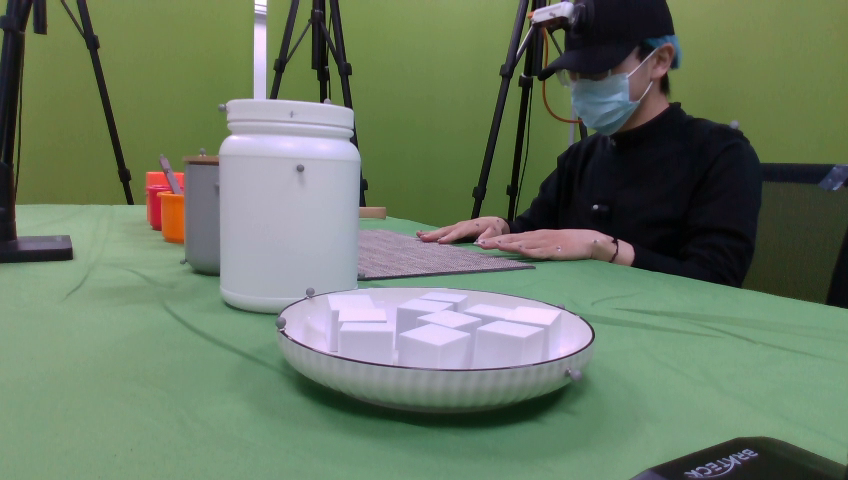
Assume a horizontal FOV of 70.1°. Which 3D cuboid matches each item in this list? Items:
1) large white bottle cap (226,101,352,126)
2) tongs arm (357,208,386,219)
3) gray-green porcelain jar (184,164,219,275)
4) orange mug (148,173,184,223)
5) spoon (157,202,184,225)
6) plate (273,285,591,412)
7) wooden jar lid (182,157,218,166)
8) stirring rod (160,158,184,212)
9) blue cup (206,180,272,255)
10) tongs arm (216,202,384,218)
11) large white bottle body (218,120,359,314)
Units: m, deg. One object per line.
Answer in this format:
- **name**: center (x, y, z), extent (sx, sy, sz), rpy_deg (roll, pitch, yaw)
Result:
- **large white bottle cap**: center (-0.125, -0.116, 0.566), extent (0.115, 0.018, 0.115), rpy_deg (2, 8, 0)
- **tongs arm**: center (-0.252, -0.062, 1.360), extent (0.387, 0.026, 0.050), rpy_deg (-1, 4, -31)
- **gray-green porcelain jar**: center (-0.230, -0.025, 0.722), extent (0.106, 0.126, 0.106), rpy_deg (3, 7, 0)
- **orange mug**: center (-0.490, -0.087, 1.222), extent (0.127, 0.101, 0.083), rpy_deg (-9, 13, -38)
- **spoon**: center (-0.425, -0.094, 1.117), extent (0.041, 0.022, 0.194), rpy_deg (5, 51, 28)
- **plate**: center (0.005, 0.069, 0.408), extent (0.208, 0.039, 0.207), rpy_deg (2, 7, 0)
- **wooden jar lid**: center (-0.227, -0.086, 0.714), extent (0.108, 0.020, 0.108), rpy_deg (1, 6, 0)
- **stirring rod**: center (-0.390, -0.070, 0.972), extent (0.014, 0.006, 0.175), rpy_deg (-2, 50, -48)
- **blue cup**: center (-0.261, -0.033, 0.865), extent (0.093, 0.100, 0.092), rpy_deg (3, 9, 0)
- **tongs arm**: center (-0.288, -0.071, 1.435), extent (0.389, 0.027, 0.028), rpy_deg (1, 0, -18)
- **large white bottle body**: center (-0.128, -0.033, 0.578), extent (0.131, 0.184, 0.130), rpy_deg (2, 7, 0)
